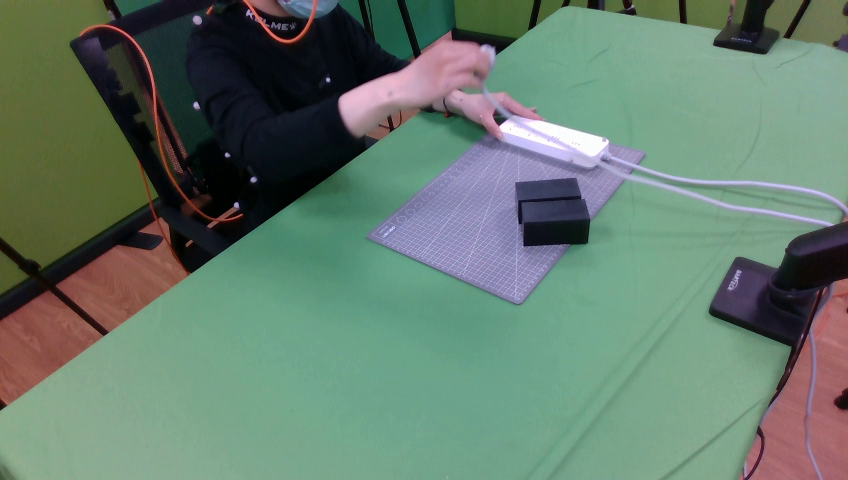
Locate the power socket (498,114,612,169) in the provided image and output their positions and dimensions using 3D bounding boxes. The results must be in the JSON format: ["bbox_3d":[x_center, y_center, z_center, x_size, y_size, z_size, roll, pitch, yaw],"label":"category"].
[{"bbox_3d":[0.240,-0.189,1.142,0.225,0.033,0.072,25,51,32],"label":"power socket"}]

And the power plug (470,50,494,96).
[{"bbox_3d":[0.083,-0.255,0.926,0.035,0.072,0.053,22,8,24],"label":"power plug"}]
